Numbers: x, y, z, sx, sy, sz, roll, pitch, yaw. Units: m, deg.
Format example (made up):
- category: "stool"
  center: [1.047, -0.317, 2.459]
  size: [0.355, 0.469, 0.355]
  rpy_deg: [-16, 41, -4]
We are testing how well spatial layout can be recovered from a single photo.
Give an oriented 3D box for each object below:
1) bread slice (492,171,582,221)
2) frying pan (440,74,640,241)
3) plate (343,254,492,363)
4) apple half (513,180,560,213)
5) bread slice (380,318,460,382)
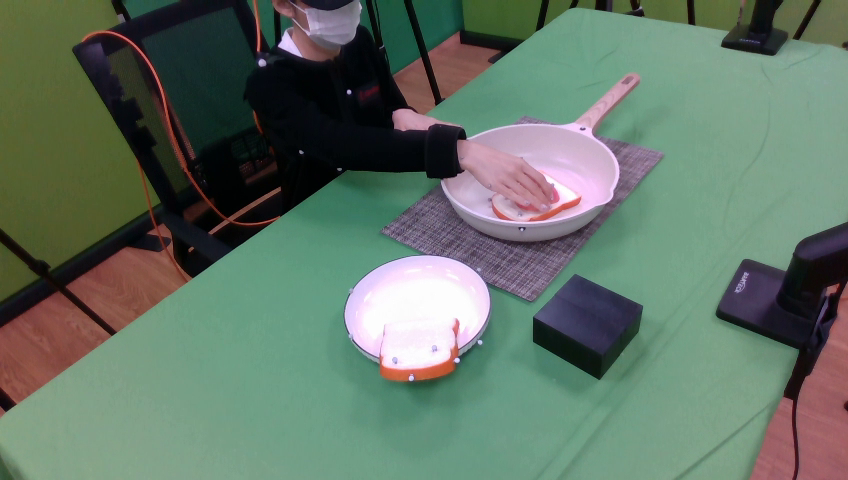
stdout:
- category: "bread slice"
  center: [0.183, -0.065, 1.017]
  size: [0.135, 0.018, 0.106]
  rpy_deg: [-27, 43, -24]
- category: "frying pan"
  center: [0.245, -0.161, 1.059]
  size: [0.304, 0.103, 0.489]
  rpy_deg: [30, 61, 35]
- category: "plate"
  center: [-0.008, 0.100, 0.847]
  size: [0.207, 0.039, 0.206]
  rpy_deg: [-4, 40, 4]
- category: "apple half"
  center: [0.183, -0.081, 1.002]
  size: [0.081, 0.033, 0.081]
  rpy_deg: [-5, 38, 4]
- category: "bread slice"
  center: [-0.005, 0.137, 0.770]
  size: [0.105, 0.019, 0.131]
  rpy_deg: [-7, 19, 4]
